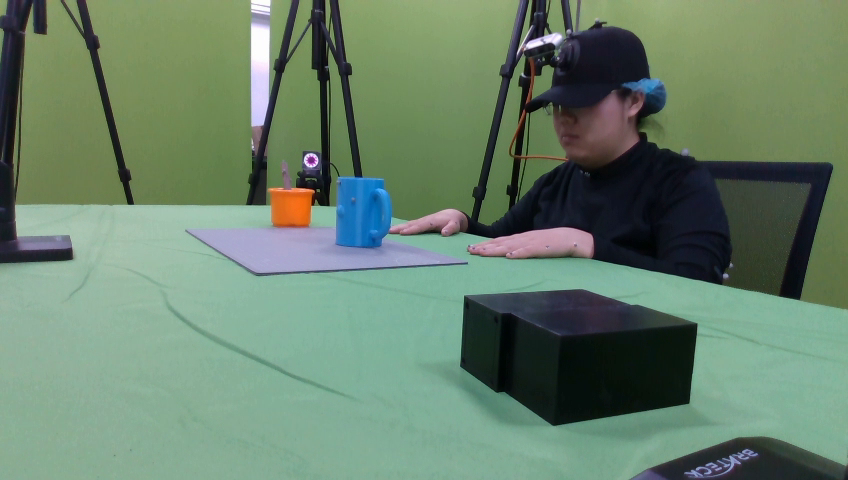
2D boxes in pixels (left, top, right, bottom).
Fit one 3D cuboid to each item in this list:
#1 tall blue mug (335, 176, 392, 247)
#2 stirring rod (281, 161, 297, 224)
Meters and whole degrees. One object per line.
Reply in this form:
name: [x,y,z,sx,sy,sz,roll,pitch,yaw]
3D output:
tall blue mug: [-0.089,-0.046,0.971,0.107,0.108,0.078,5,7,20]
stirring rod: [-0.278,-0.099,1.239,0.014,0.006,0.175,2,49,-25]
